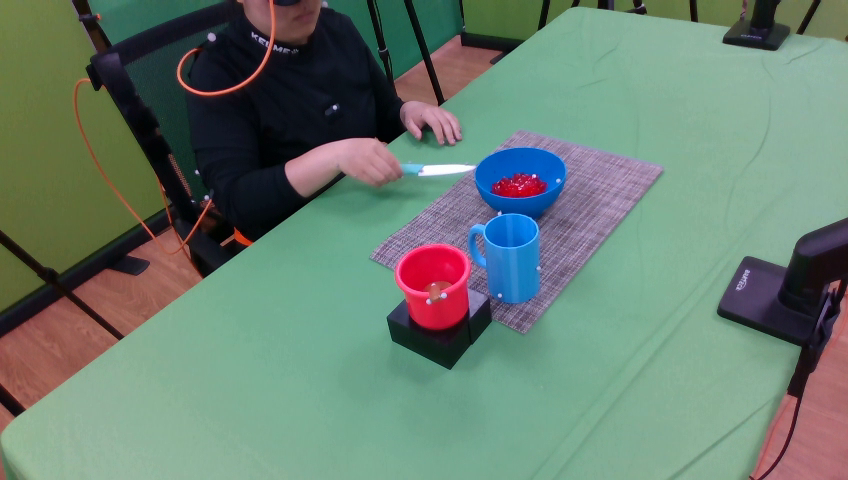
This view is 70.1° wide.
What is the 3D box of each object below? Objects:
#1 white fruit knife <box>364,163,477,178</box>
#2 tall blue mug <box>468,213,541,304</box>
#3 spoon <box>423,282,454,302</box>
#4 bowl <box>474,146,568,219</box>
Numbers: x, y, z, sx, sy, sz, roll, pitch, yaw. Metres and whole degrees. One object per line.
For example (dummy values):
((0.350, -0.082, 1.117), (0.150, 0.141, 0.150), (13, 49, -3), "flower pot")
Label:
((-0.006, -0.128, 1.090), (0.207, 0.016, 0.027), (-1, 62, 10), "white fruit knife")
((0.111, 0.026, 0.856), (0.107, 0.108, 0.077), (2, 42, 13), "tall blue mug")
((0.015, 0.062, 0.733), (0.041, 0.021, 0.194), (-5, -4, 3), "spoon")
((0.161, -0.083, 1.001), (0.151, 0.077, 0.150), (-5, 40, 5), "bowl")
